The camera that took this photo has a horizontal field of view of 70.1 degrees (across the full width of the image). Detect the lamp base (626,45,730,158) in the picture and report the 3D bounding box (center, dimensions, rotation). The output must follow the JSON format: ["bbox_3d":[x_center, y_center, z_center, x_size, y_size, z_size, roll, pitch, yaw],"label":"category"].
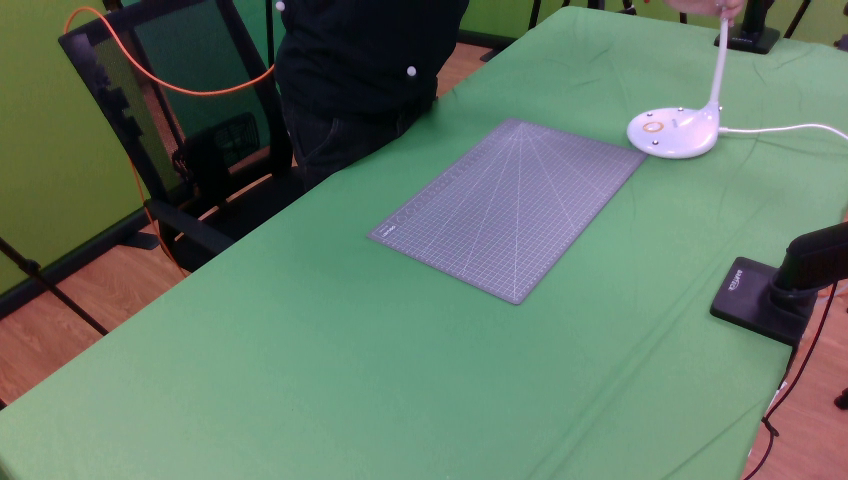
[{"bbox_3d":[0.468,-0.262,1.085,0.179,0.181,0.159,-4,41,0],"label":"lamp base"}]
